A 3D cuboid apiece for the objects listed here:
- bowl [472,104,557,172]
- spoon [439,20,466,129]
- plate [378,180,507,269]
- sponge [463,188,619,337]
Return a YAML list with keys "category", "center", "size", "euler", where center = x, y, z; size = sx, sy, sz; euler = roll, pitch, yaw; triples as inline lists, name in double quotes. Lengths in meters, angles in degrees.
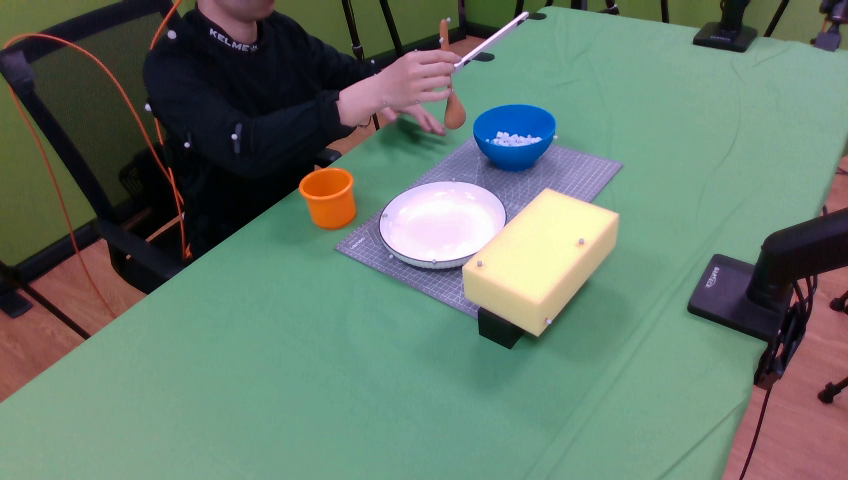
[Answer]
- category: "bowl"
  center: [0.165, -0.178, 1.105]
  size: [0.151, 0.077, 0.150]
  euler: [-4, 40, 4]
- category: "spoon"
  center: [0.042, -0.269, 1.004]
  size: [0.042, 0.194, 0.021]
  euler: [-18, 37, -7]
- category: "plate"
  center: [0.031, -0.022, 0.974]
  size: [0.209, 0.038, 0.208]
  euler: [-4, 40, 4]
- category: "sponge"
  center: [0.160, 0.022, 0.814]
  size: [0.117, 0.061, 0.207]
  euler: [24, 50, 32]
